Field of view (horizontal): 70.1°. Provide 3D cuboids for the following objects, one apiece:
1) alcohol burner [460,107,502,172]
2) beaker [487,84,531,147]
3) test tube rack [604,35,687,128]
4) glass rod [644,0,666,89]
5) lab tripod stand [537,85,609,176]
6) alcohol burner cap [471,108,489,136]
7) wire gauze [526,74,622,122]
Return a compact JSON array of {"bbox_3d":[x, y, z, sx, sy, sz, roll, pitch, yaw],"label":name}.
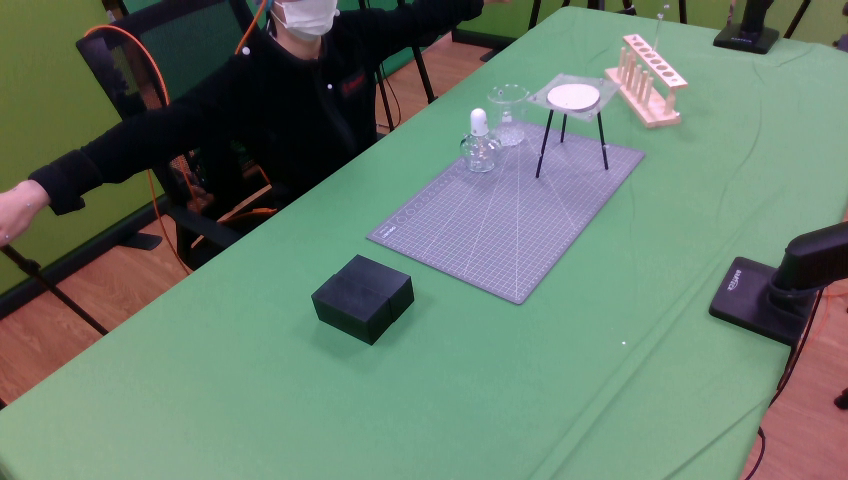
[{"bbox_3d":[0.102,-0.185,1.098,0.078,0.119,0.077,-6,40,5],"label":"alcohol burner"},{"bbox_3d":[0.163,-0.237,1.161,0.084,0.101,0.073,-10,41,-3],"label":"beaker"},{"bbox_3d":[0.447,-0.330,1.241,0.067,0.085,0.241,-9,41,-2],"label":"test tube rack"},{"bbox_3d":[0.465,-0.397,1.215,0.008,0.200,0.008,0,39,1],"label":"glass rod"},{"bbox_3d":[0.259,-0.192,1.068,0.148,0.132,0.147,-4,42,4],"label":"lab tripod stand"},{"bbox_3d":[0.098,-0.211,1.074,0.034,0.048,0.033,-6,41,6],"label":"alcohol burner cap"},{"bbox_3d":[0.255,-0.248,1.030,0.124,0.011,0.122,24,51,32],"label":"wire gauze"}]
